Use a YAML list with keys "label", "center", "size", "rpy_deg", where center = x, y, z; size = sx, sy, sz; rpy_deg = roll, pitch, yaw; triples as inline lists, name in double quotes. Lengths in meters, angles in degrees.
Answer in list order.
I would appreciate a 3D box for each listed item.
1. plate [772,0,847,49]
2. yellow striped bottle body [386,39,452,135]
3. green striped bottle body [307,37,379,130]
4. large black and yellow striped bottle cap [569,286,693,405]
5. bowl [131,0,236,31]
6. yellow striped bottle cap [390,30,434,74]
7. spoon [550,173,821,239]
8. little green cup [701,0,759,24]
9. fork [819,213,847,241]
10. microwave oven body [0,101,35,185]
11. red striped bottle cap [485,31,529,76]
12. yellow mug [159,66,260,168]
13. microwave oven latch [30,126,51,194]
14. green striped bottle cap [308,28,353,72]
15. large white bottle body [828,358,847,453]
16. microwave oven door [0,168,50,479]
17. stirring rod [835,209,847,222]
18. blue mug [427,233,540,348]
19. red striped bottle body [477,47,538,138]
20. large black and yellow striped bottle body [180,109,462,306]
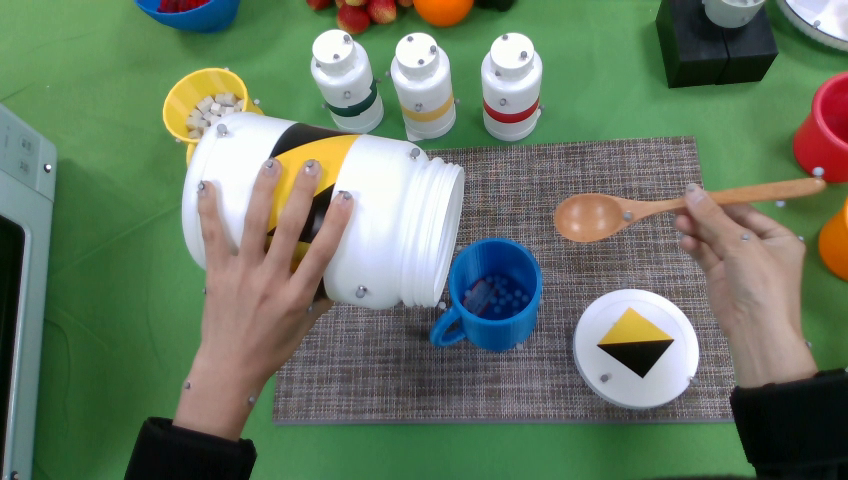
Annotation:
- label: "plate"
  center: [0.498, -0.300, 0.695]
  size: [0.209, 0.038, 0.207]
  rpy_deg: [-2, 70, 6]
- label: "yellow striped bottle body"
  center: [-0.005, -0.172, 0.663]
  size: [0.063, 0.121, 0.062]
  rpy_deg: [-3, 68, 7]
- label: "green striped bottle body"
  center: [-0.090, -0.179, 0.676]
  size: [0.063, 0.120, 0.062]
  rpy_deg: [-2, 69, 6]
- label: "large black and yellow striped bottle cap"
  center: [0.199, 0.101, 0.587]
  size: [0.115, 0.019, 0.114]
  rpy_deg: [-2, 67, 6]
- label: "bowl"
  center: [-0.295, -0.326, 0.779]
  size: [0.151, 0.077, 0.150]
  rpy_deg: [-2, 69, 6]
- label: "yellow striped bottle cap"
  center: [-0.012, -0.191, 0.614]
  size: [0.044, 0.019, 0.044]
  rpy_deg: [-1, 66, 2]
- label: "spoon"
  center: [0.195, -0.030, 0.468]
  size: [0.193, 0.022, 0.041]
  rpy_deg: [-8, 76, 24]
- label: "little green cup"
  center: [0.328, -0.264, 0.647]
  size: [0.061, 0.039, 0.061]
  rpy_deg: [-2, 67, 5]
- label: "fork"
  center: [0.444, 0.010, 0.524]
  size: [0.028, 0.019, 0.205]
  rpy_deg: [-32, 24, -11]
- label: "microwave oven body"
  center: [-0.589, 0.063, 0.564]
  size: [0.326, 0.262, 0.438]
  rpy_deg: [-11, 69, 2]
- label: "red striped bottle cap"
  center: [0.083, -0.186, 0.601]
  size: [0.044, 0.018, 0.044]
  rpy_deg: [-1, 67, 3]
- label: "yellow mug"
  center: [-0.250, -0.130, 0.705]
  size: [0.100, 0.064, 0.130]
  rpy_deg: [7, 71, 9]
- label: "microwave oven latch"
  center: [-0.460, -0.092, 0.711]
  size: [0.030, 0.030, 0.078]
  rpy_deg: [-9, 69, 3]
- label: "green striped bottle cap"
  center: [-0.097, -0.198, 0.628]
  size: [0.044, 0.020, 0.044]
  rpy_deg: [-3, 67, 6]
- label: "large white bottle body"
  center: [0.420, 0.127, 0.463]
  size: [0.130, 0.186, 0.129]
  rpy_deg: [-2, 68, 7]
- label: "microwave oven door"
  center: [-0.440, 0.073, 0.537]
  size: [0.039, 0.245, 0.353]
  rpy_deg: [-11, 68, 3]
- label: "stirring rod"
  center: [0.416, 0.009, 0.535]
  size: [0.014, 0.006, 0.175]
  rpy_deg: [1, 26, 4]
- label: "blue mug"
  center: [0.052, 0.060, 0.571]
  size: [0.116, 0.106, 0.081]
  rpy_deg: [-35, 68, -6]
- label: "red striped bottle body"
  center: [0.089, -0.166, 0.650]
  size: [0.063, 0.120, 0.062]
  rpy_deg: [-2, 68, 6]
- label: "large black and yellow striped bottle body"
  center: [-0.071, -0.023, 0.465]
  size: [0.184, 0.131, 0.130]
  rpy_deg: [11, 71, 7]
